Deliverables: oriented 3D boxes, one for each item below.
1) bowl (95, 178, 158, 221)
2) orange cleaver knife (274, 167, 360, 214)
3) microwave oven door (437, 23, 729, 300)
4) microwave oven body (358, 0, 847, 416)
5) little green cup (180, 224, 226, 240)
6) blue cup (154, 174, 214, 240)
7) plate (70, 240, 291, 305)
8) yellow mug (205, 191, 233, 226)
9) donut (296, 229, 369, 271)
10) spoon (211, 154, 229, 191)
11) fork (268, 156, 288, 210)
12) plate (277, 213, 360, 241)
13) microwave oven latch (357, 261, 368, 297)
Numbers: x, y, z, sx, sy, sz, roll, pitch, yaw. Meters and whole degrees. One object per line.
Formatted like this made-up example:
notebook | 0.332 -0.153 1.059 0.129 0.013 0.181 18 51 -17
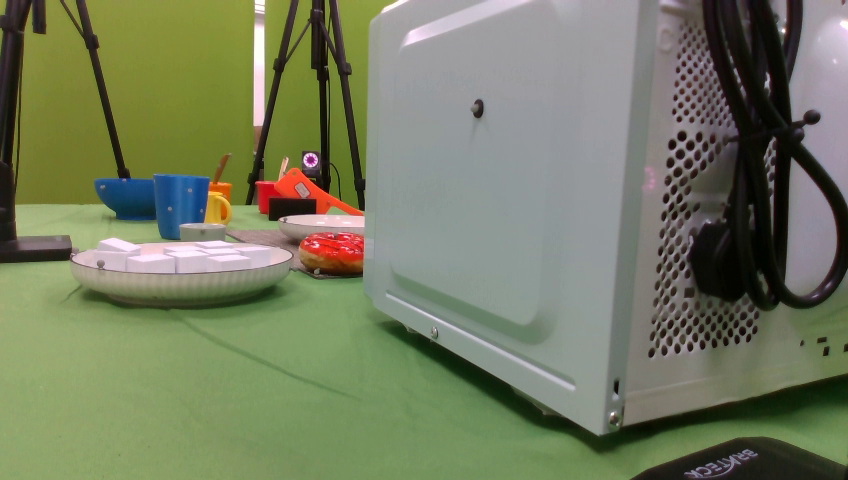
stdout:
bowl | -0.576 -0.081 1.217 0.151 0.077 0.151 3 8 0
orange cleaver knife | -0.238 -0.091 1.381 0.212 0.077 0.012 31 0 -19
microwave oven door | 0.181 -0.072 0.621 0.358 0.243 0.039 -2 9 -29
microwave oven body | 0.211 -0.047 0.474 0.444 0.260 0.324 -1 8 -28
little green cup | -0.309 -0.001 0.846 0.061 0.038 0.061 2 8 0
blue cup | -0.390 -0.053 0.978 0.093 0.100 0.092 3 6 0
plate | -0.242 0.031 0.618 0.208 0.039 0.207 2 8 0
yellow mug | -0.415 -0.057 1.132 0.130 0.064 0.100 6 8 16
donut | -0.106 0.014 0.739 0.099 0.048 0.099 4 8 0
spoon | -0.431 -0.115 1.253 0.042 0.193 0.021 -3 53 -33
fork | -0.360 -0.144 1.508 0.028 0.018 0.207 1 49 0
plate | -0.135 -0.017 0.993 0.209 0.038 0.209 2 8 0
microwave oven latch | -0.019 0.033 0.530 0.079 0.029 0.030 -1 7 -26
